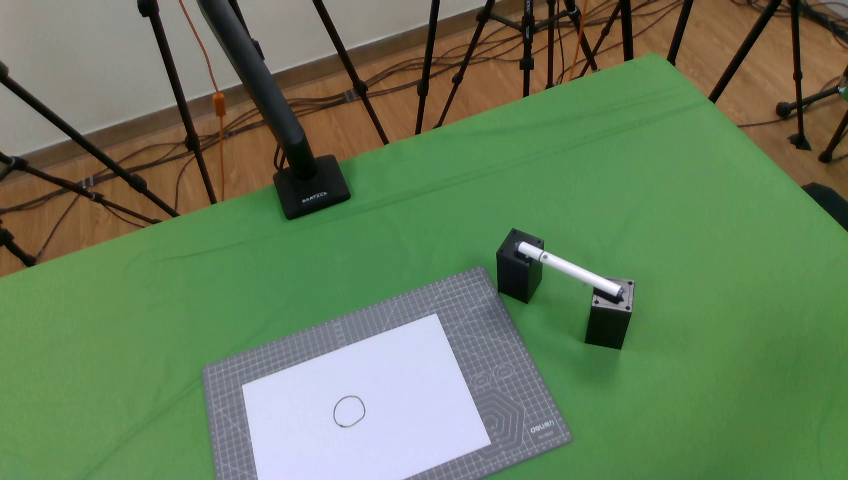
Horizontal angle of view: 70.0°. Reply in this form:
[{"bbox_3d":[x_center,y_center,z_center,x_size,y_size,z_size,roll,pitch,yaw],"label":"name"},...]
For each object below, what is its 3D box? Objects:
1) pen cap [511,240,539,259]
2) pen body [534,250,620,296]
[{"bbox_3d":[0.138,0.012,0.829,0.038,0.017,0.017,24,60,25],"label":"pen cap"},{"bbox_3d":[0.189,0.038,0.804,0.143,0.017,0.017,26,61,24],"label":"pen body"}]
